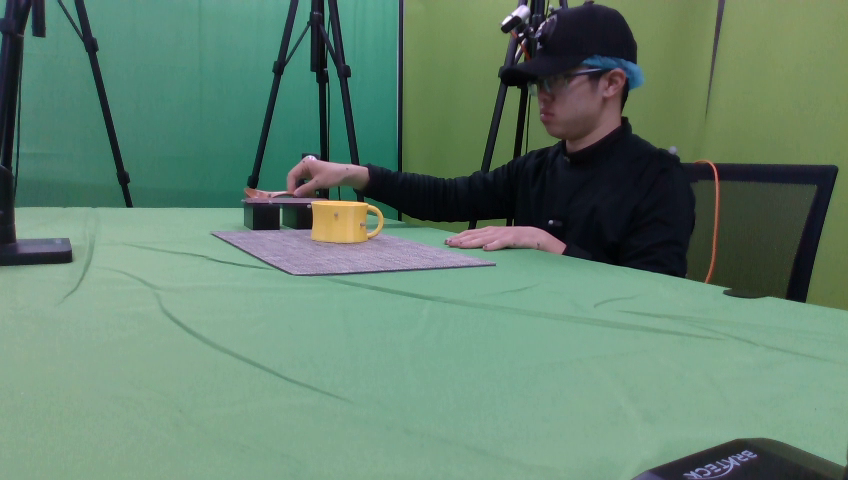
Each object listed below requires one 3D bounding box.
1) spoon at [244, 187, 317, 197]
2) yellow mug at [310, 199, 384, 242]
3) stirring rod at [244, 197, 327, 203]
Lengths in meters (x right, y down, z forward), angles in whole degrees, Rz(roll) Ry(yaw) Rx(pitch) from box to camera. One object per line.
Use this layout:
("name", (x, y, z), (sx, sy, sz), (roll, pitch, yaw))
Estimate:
("spoon", (-0.289, -0.095, 1.245), (0.041, 0.021, 0.195), (48, 31, 23))
("yellow mug", (-0.132, -0.035, 1.054), (0.131, 0.064, 0.099), (0, 8, -23))
("stirring rod", (-0.270, -0.079, 1.200), (0.177, 0.006, 0.014), (-3, 47, -37))
